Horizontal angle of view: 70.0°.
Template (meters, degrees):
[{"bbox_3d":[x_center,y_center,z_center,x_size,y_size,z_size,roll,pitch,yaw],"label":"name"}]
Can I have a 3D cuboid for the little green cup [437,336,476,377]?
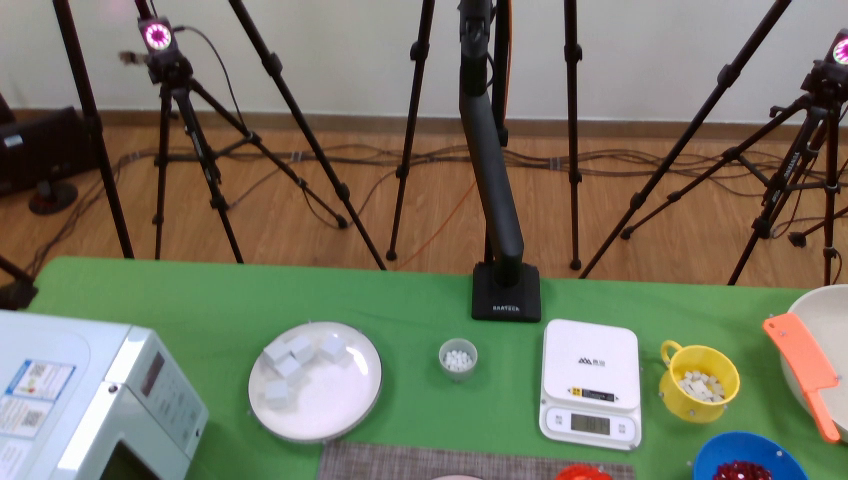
[{"bbox_3d":[0.052,0.189,0.971,0.061,0.039,0.061,-1,49,2],"label":"little green cup"}]

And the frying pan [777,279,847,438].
[{"bbox_3d":[0.721,0.255,0.848,0.307,0.104,0.482,-18,43,-12],"label":"frying pan"}]

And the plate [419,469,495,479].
[{"bbox_3d":[0.044,0.406,0.783,0.209,0.038,0.207,-1,50,1],"label":"plate"}]

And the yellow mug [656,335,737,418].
[{"bbox_3d":[0.406,0.200,0.931,0.100,0.064,0.129,-23,52,-15],"label":"yellow mug"}]

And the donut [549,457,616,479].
[{"bbox_3d":[0.218,0.345,0.824,0.099,0.049,0.098,-3,50,4],"label":"donut"}]

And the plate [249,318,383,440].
[{"bbox_3d":[-0.167,0.219,0.954,0.208,0.039,0.205,-1,50,1],"label":"plate"}]

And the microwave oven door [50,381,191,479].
[{"bbox_3d":[-0.380,0.370,0.675,0.039,0.246,0.352,5,50,7],"label":"microwave oven door"}]

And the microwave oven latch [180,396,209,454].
[{"bbox_3d":[-0.343,0.270,0.892,0.030,0.030,0.078,7,51,8],"label":"microwave oven latch"}]

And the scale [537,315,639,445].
[{"bbox_3d":[0.257,0.213,0.948,0.148,0.032,0.199,6,51,8],"label":"scale"}]

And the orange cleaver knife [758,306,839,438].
[{"bbox_3d":[0.563,0.185,0.887,0.077,0.012,0.209,-2,50,-5],"label":"orange cleaver knife"}]

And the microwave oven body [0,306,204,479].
[{"bbox_3d":[-0.518,0.329,0.721,0.326,0.262,0.438,5,51,6],"label":"microwave oven body"}]

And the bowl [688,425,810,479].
[{"bbox_3d":[0.423,0.334,0.810,0.151,0.077,0.150,-1,51,2],"label":"bowl"}]
